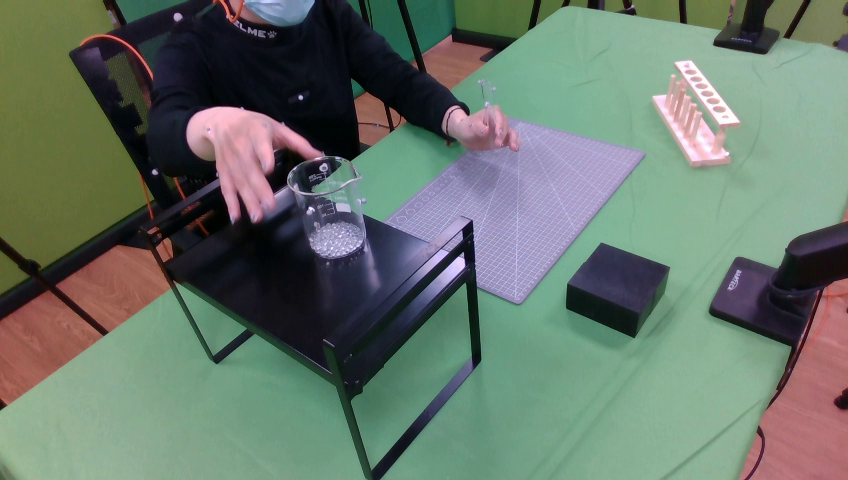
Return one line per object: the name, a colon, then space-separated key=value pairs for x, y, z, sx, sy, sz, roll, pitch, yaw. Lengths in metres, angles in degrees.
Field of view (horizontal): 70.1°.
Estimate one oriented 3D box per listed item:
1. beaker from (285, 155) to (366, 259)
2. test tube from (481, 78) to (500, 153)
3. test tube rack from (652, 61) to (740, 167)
beaker: x=-0.105 y=-0.035 z=0.691 sx=0.084 sy=0.101 sz=0.073 roll=-4 pitch=41 yaw=3
test tube: x=0.112 y=-0.202 z=1.001 sx=0.017 sy=0.151 sz=0.017 roll=-7 pitch=48 yaw=9
test tube rack: x=0.499 y=-0.242 z=1.130 sx=0.067 sy=0.085 sz=0.241 roll=-5 pitch=41 yaw=4
